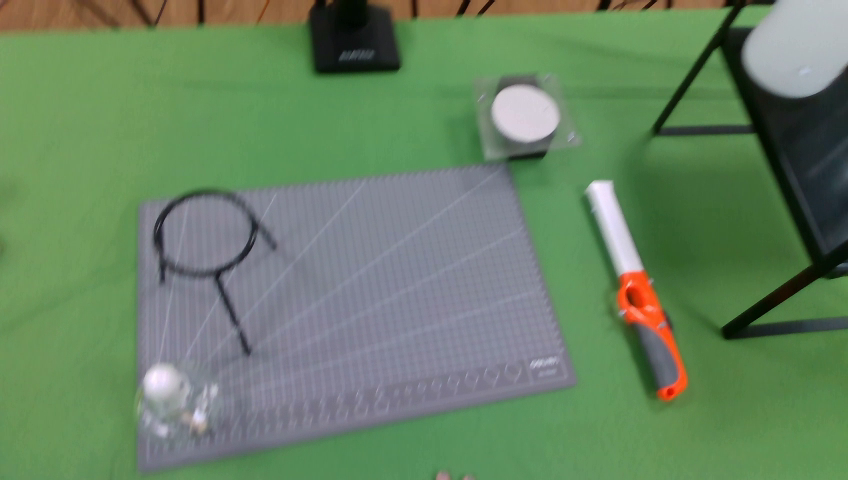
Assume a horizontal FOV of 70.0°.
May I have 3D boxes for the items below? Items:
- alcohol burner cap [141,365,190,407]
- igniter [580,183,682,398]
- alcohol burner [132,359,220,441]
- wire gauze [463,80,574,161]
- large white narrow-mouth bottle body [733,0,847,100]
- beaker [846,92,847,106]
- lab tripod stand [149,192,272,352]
[{"bbox_3d":[-0.225,0.124,0.521,0.034,0.048,0.033,3,67,-6],"label":"alcohol burner cap"},{"bbox_3d":[0.243,0.050,0.719,0.057,0.025,0.274,-2,62,-21],"label":"igniter"},{"bbox_3d":[-0.229,0.141,0.553,0.078,0.120,0.077,4,59,-7],"label":"alcohol burner"},{"bbox_3d":[0.118,-0.157,0.771,0.122,0.011,0.124,-6,63,-11],"label":"wire gauze"},{"bbox_3d":[0.399,-0.237,0.595,0.102,0.196,0.101,3,61,-5],"label":"large white narrow-mouth bottle body"},{"bbox_3d":[0.501,-0.169,0.626,0.074,0.101,0.083,-1,61,-8],"label":"beaker"},{"bbox_3d":[-0.208,0.027,0.607,0.149,0.132,0.147,4,61,-7],"label":"lab tripod stand"}]
